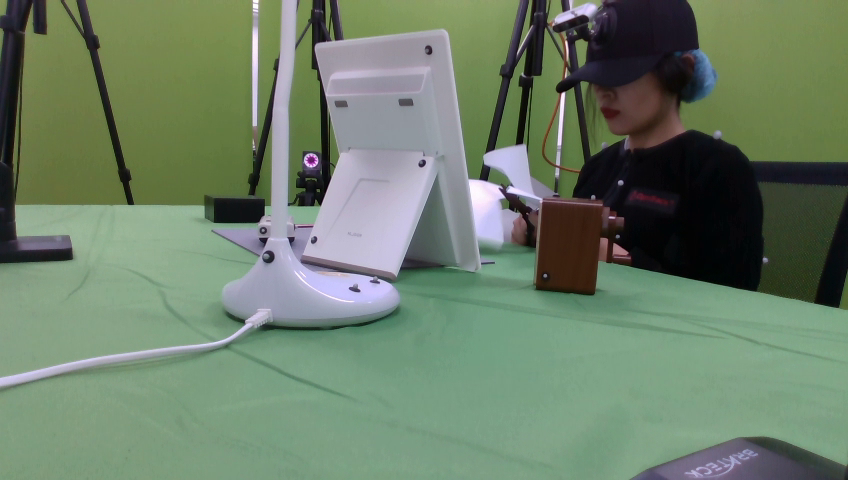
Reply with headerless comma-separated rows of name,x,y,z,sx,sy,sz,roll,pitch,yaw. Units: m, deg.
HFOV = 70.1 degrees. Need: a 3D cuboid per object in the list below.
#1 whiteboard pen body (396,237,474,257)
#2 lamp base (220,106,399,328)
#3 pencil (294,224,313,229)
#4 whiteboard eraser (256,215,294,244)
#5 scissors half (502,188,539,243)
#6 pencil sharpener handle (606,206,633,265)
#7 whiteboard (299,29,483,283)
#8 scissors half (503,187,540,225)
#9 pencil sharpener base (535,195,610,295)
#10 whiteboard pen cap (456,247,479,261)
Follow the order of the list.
whiteboard pen body,0.014,0.012,0.886,0.140,0.017,0.017,9,10,38
lamp base,-0.101,-0.023,0.531,0.160,0.180,0.179,4,10,10
pencil,-0.221,-0.028,1.211,0.195,0.012,0.012,-5,10,-34
whiteboard eraser,-0.232,-0.016,0.951,0.056,0.042,0.112,2,7,-12
scissors half,0.171,-0.042,1.054,0.176,0.040,0.012,48,5,-46
pencil sharpener handle,0.222,-0.004,0.683,0.030,0.068,0.036,5,21,16
whiteboard,-0.074,-0.082,0.742,0.216,0.305,0.144,9,30,38
scissors half,0.186,-0.055,1.052,0.176,0.040,0.013,28,14,-44
pencil sharpener base,0.172,0.005,0.695,0.076,0.107,0.061,5,7,16
whiteboard pen cap,0.060,0.020,0.851,0.033,0.018,0.018,10,10,37
